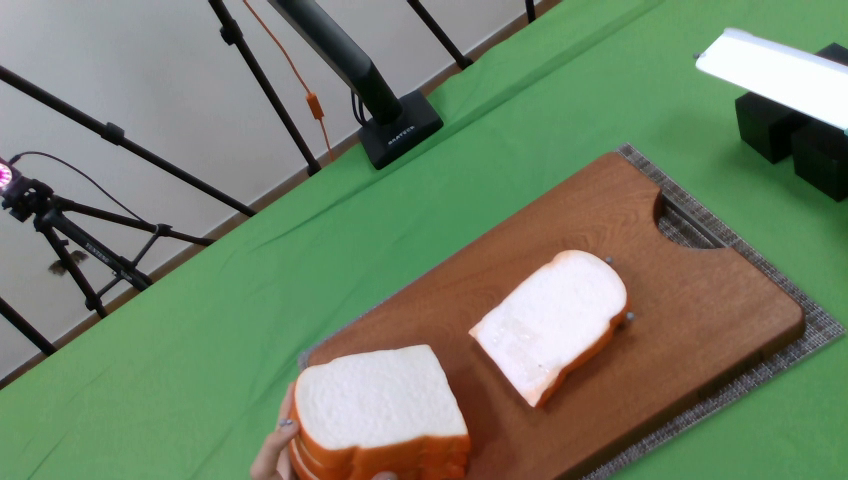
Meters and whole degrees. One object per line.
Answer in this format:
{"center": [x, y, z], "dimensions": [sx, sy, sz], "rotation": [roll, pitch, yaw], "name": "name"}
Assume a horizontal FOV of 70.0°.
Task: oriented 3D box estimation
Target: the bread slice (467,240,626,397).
{"center": [0.111, 0.061, 0.526], "dimensions": [0.131, 0.019, 0.103], "rotation": [-44, 39, 2], "name": "bread slice"}

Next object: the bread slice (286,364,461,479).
{"center": [-0.047, 0.152, 0.509], "dimensions": [0.135, 0.018, 0.105], "rotation": [-1, 37, -19], "name": "bread slice"}

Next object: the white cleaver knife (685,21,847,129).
{"center": [0.332, -0.115, 0.471], "dimensions": [0.066, 0.022, 0.283], "rotation": [-42, 51, -3], "name": "white cleaver knife"}
